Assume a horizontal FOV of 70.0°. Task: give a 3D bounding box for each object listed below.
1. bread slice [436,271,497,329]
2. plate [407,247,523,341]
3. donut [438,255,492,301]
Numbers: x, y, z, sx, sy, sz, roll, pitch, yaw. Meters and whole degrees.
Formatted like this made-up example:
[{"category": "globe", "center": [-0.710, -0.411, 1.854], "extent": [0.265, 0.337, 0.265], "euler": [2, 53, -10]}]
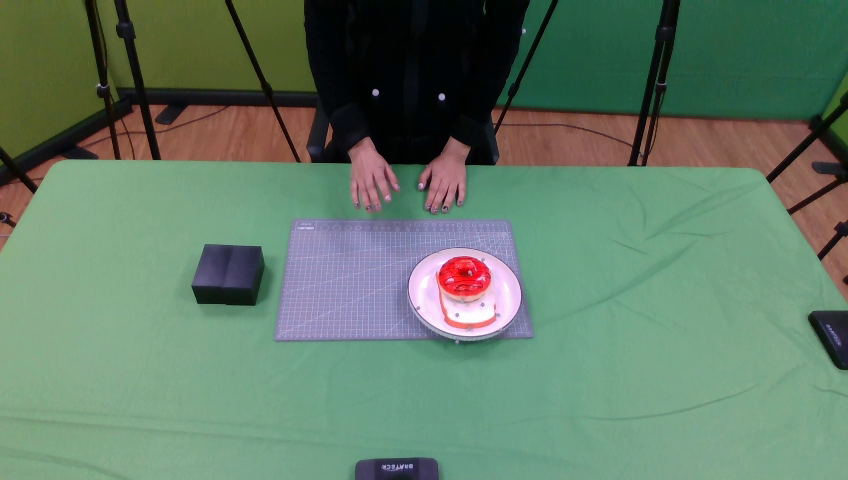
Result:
[{"category": "bread slice", "center": [0.081, 0.103, 1.091], "extent": [0.105, 0.019, 0.130], "euler": [-3, 46, -5]}, {"category": "plate", "center": [0.073, 0.099, 1.093], "extent": [0.209, 0.038, 0.208], "euler": [2, 46, -2]}, {"category": "donut", "center": [0.074, 0.066, 1.086], "extent": [0.099, 0.048, 0.098], "euler": [0, 44, 0]}]
